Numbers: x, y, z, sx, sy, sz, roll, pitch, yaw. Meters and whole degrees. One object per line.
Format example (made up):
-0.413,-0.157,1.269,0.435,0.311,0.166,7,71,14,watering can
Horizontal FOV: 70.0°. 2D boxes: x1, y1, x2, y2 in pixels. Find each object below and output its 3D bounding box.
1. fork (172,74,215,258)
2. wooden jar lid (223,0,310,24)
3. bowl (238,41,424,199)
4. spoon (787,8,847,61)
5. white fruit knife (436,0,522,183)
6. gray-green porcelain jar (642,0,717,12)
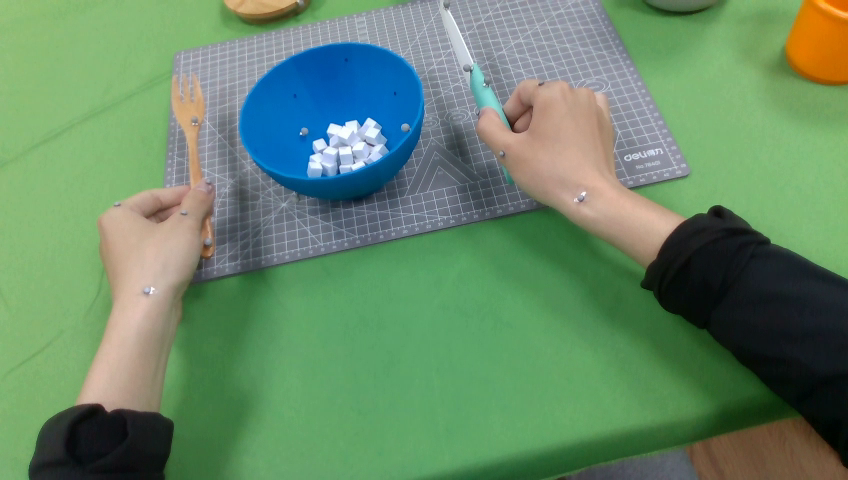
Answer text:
-0.198,-0.071,0.525,0.028,0.019,0.205,-7,55,-19,fork
-0.174,-0.284,0.688,0.108,0.021,0.107,-3,58,4,wooden jar lid
-0.070,-0.087,0.512,0.151,0.077,0.150,-4,58,6,bowl
0.393,-0.207,0.483,0.022,0.194,0.041,17,55,-34,spoon
0.041,-0.138,0.519,0.016,0.027,0.205,-9,60,-20,white fruit knife
0.251,-0.293,0.570,0.106,0.128,0.105,-4,58,7,gray-green porcelain jar
